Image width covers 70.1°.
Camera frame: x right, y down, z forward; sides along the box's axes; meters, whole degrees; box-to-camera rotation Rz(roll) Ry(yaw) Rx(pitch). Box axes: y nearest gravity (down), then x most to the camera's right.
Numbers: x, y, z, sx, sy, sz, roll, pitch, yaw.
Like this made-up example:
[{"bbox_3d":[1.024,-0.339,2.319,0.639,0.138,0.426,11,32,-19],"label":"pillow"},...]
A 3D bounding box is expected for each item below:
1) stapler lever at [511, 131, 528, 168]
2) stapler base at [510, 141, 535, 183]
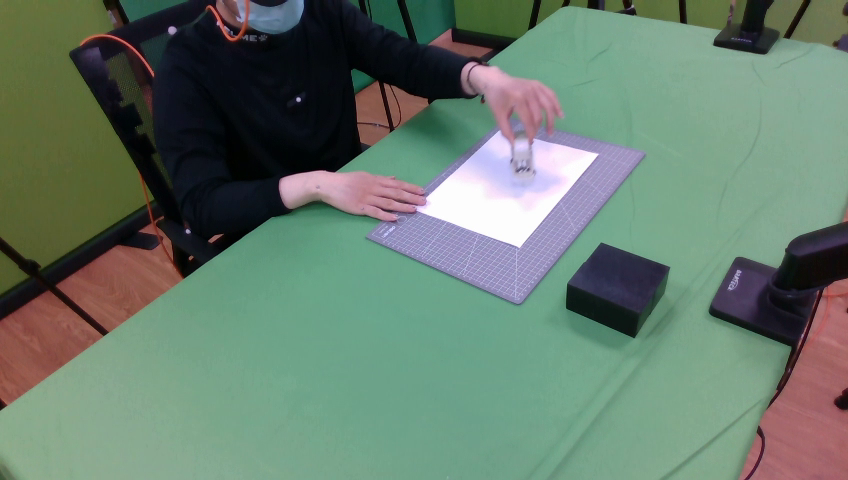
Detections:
[{"bbox_3d":[0.167,-0.166,1.059,0.027,0.040,0.117,-5,36,10],"label":"stapler lever"},{"bbox_3d":[0.172,-0.145,1.072,0.041,0.024,0.130,-5,36,10],"label":"stapler base"}]
